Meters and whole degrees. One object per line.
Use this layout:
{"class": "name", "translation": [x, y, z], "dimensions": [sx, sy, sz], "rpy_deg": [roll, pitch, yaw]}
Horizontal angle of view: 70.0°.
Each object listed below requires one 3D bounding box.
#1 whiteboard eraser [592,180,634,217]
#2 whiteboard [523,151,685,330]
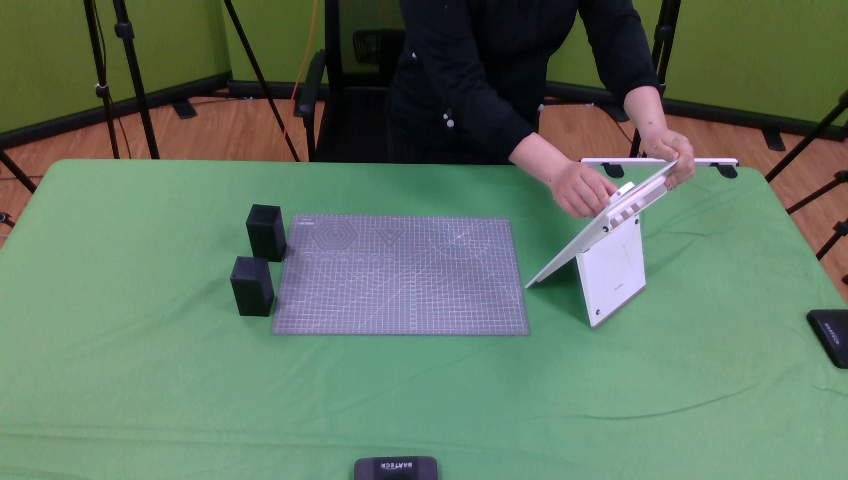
{"class": "whiteboard eraser", "translation": [0.308, -0.063, 0.989], "dimensions": [0.041, 0.101, 0.019], "rpy_deg": [-32, 74, -27]}
{"class": "whiteboard", "translation": [0.346, 0.024, 1.047], "dimensions": [0.217, 0.306, 0.143], "rpy_deg": [-30, 73, -29]}
